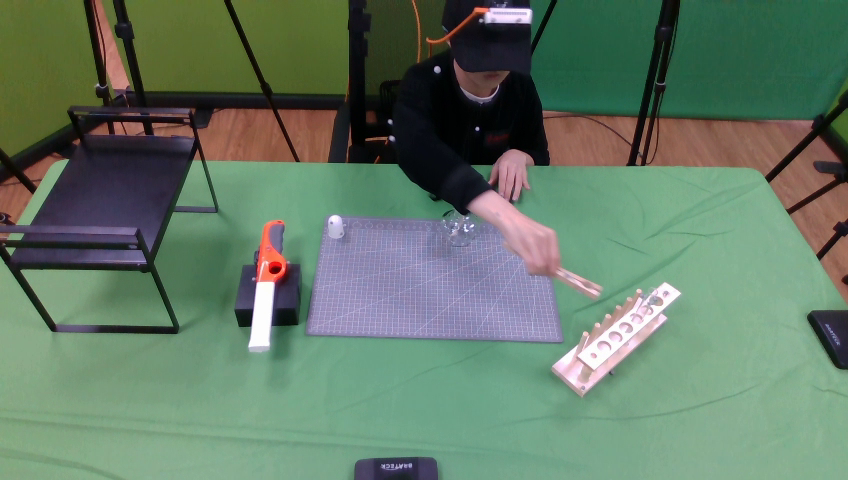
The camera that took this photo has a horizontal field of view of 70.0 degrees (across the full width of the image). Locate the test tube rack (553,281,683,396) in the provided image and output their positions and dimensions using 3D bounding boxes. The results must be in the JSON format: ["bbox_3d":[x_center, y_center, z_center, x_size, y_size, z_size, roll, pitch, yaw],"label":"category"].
[{"bbox_3d":[0.329,0.153,1.022,0.242,0.085,0.066,-30,54,-28],"label":"test tube rack"}]

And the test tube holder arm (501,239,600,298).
[{"bbox_3d":[0.205,0.045,0.992,0.178,0.015,0.013,29,52,19],"label":"test tube holder arm"}]

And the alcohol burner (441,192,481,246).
[{"bbox_3d":[0.074,-0.046,1.175,0.078,0.119,0.077,2,44,-2],"label":"alcohol burner"}]

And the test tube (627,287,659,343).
[{"bbox_3d":[0.352,0.124,0.983,0.017,0.151,0.017,1,50,-1],"label":"test tube"}]

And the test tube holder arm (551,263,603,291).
[{"bbox_3d":[0.246,0.062,0.981,0.087,0.015,0.010,26,52,17],"label":"test tube holder arm"}]

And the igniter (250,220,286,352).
[{"bbox_3d":[-0.269,0.068,1.042,0.057,0.025,0.274,0,48,-7],"label":"igniter"}]

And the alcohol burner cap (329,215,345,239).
[{"bbox_3d":[-0.172,-0.028,1.192,0.034,0.048,0.033,1,47,-1],"label":"alcohol burner cap"}]
